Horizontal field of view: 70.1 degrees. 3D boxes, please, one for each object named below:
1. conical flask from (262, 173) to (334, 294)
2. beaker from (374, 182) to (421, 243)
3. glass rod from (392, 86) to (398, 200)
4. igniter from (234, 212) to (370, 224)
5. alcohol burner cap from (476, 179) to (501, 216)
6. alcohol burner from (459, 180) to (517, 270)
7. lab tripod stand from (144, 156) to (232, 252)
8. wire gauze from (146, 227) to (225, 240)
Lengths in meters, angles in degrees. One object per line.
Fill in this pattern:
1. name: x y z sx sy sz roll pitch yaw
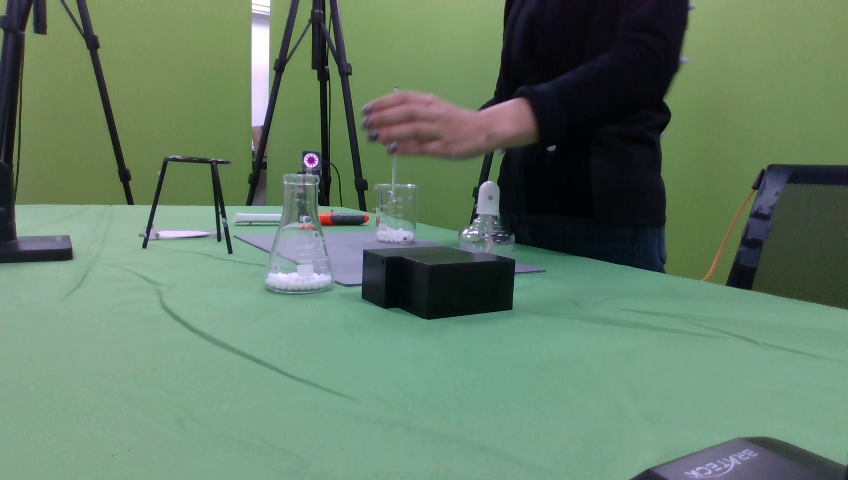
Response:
1. conical flask: -0.131 -0.009 0.632 0.075 0.122 0.075 2 8 0
2. beaker: -0.049 -0.048 1.031 0.083 0.100 0.074 5 7 24
3. glass rod: -0.051 -0.167 1.034 0.008 0.199 0.008 1 -7 0
4. igniter: -0.247 -0.046 1.253 0.278 0.025 0.057 -1 -3 -27
5. alcohol burner cap: 0.086 -0.056 0.801 0.034 0.048 0.034 4 2 0
6. alcohol burner: 0.086 -0.021 0.806 0.078 0.119 0.078 3 9 0
7. lab tripod stand: -0.325 -0.054 0.881 0.148 0.131 0.148 4 7 0
8. wire gauze: -0.400 -0.012 1.019 0.122 0.011 0.124 -1 6 -26
